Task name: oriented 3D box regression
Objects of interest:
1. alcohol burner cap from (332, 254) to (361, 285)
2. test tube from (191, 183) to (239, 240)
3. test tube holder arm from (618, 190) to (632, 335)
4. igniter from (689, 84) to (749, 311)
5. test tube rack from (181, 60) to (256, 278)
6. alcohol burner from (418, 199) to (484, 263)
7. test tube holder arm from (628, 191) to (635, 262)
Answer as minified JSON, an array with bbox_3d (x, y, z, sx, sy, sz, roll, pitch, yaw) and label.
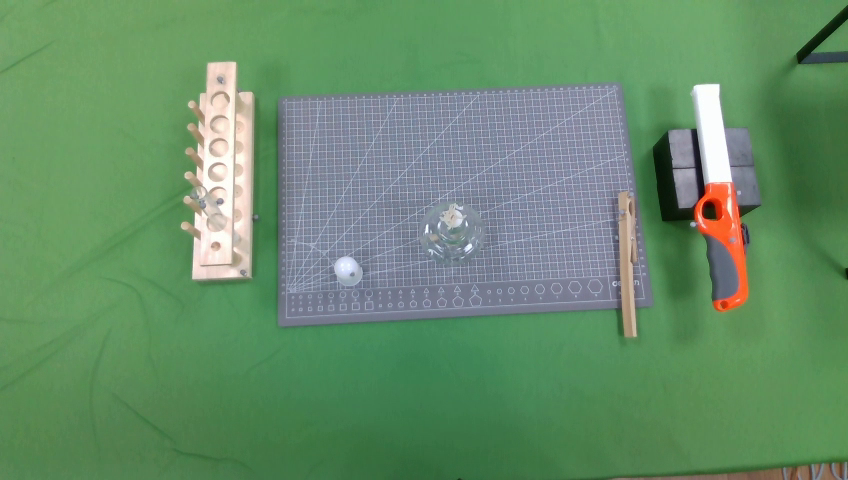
[{"bbox_3d":[-0.092,0.032,0.713,0.034,0.048,0.033,0,75,-1],"label":"alcohol burner cap"},{"bbox_3d":[-0.222,-0.027,0.654,0.017,0.151,0.017,1,73,-4],"label":"test tube"},{"bbox_3d":[0.242,0.026,0.730,0.013,0.015,0.177,13,73,-28],"label":"test tube holder arm"},{"bbox_3d":[0.341,-0.054,0.708,0.057,0.025,0.275,-1,75,5],"label":"igniter"},{"bbox_3d":[-0.246,-0.083,0.718,0.067,0.085,0.241,-2,76,-1],"label":"test tube rack"},{"bbox_3d":[0.032,-0.014,0.691,0.078,0.119,0.077,0,77,0],"label":"alcohol burner"},{"bbox_3d":[0.251,-0.016,0.745,0.010,0.015,0.087,14,73,-28],"label":"test tube holder arm"}]
